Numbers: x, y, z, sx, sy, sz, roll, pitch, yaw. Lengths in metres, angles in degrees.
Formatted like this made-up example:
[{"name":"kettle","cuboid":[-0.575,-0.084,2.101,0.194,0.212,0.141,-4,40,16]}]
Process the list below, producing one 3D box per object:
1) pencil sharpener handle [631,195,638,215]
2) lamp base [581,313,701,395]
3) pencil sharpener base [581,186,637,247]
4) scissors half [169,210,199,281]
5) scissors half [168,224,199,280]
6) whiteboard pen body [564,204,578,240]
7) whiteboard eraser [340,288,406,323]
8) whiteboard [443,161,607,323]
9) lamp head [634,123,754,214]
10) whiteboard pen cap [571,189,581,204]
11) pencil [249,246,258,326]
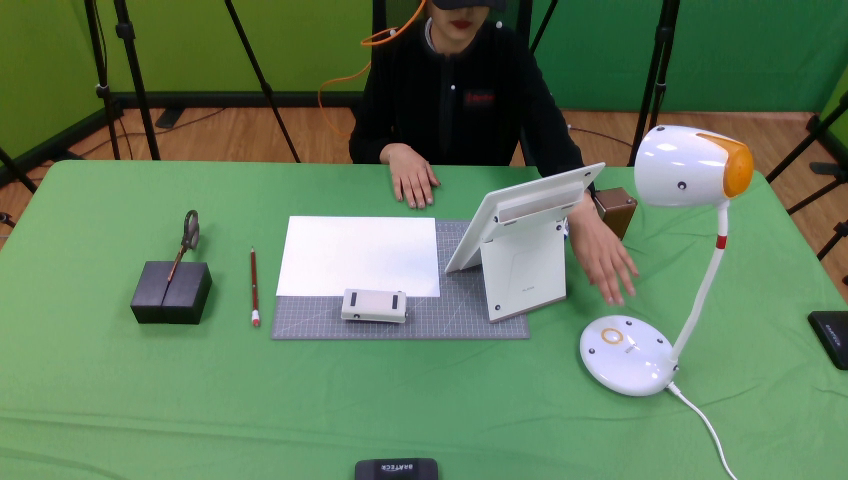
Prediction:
[{"name":"pencil sharpener handle","cuboid":[0.417,-0.068,1.215,0.031,0.068,0.036,-11,61,-14]},{"name":"lamp base","cuboid":[0.361,0.144,0.972,0.178,0.181,0.160,34,53,23]},{"name":"pencil sharpener base","cuboid":[0.369,-0.047,1.208,0.077,0.107,0.061,-11,47,-14]},{"name":"scissors half","cuboid":[-0.438,0.007,1.098,0.013,0.040,0.174,3,47,-3]},{"name":"scissors half","cuboid":[-0.440,0.023,1.111,0.013,0.040,0.174,7,29,-6]},{"name":"whiteboard pen body","cuboid":[0.307,-0.052,1.270,0.017,0.017,0.140,18,49,13]},{"name":"whiteboard eraser","cuboid":[-0.088,0.117,1.060,0.113,0.042,0.055,3,45,-1]},{"name":"whiteboard","cuboid":[0.185,0.025,1.029,0.217,0.306,0.143,-15,68,-18]},{"name":"lamp head","cuboid":[0.351,-0.089,0.776,0.112,0.113,0.122,-30,30,-28]},{"name":"whiteboard pen cap","cuboid":[0.328,-0.093,1.307,0.018,0.018,0.033,18,51,13]},{"name":"pencil","cuboid":[-0.312,0.079,1.106,0.012,0.012,0.192,-8,47,-11]}]
